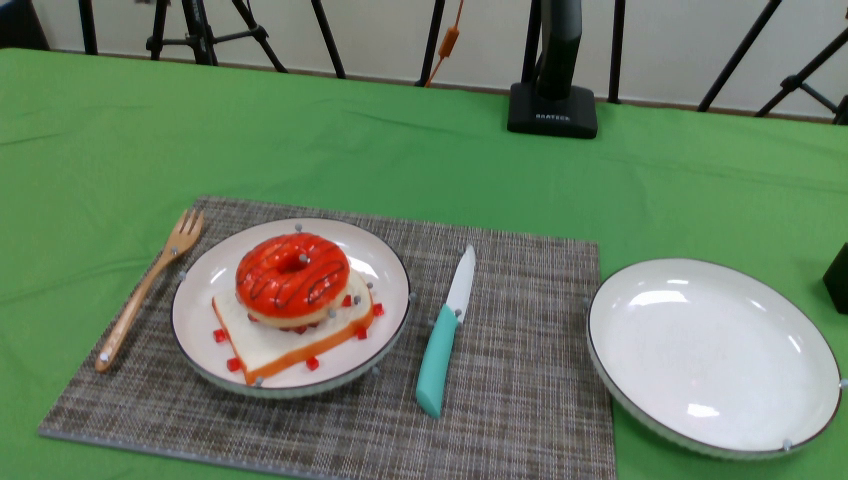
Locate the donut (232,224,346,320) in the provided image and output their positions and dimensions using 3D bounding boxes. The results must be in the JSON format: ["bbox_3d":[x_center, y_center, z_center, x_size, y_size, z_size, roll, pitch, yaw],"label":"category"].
[{"bbox_3d":[-0.117,0.026,0.528,0.099,0.048,0.098,2,43,-1],"label":"donut"}]

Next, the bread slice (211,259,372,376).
[{"bbox_3d":[-0.116,0.057,0.551,0.132,0.019,0.103,-23,49,-24],"label":"bread slice"}]

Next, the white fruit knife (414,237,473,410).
[{"bbox_3d":[0.023,0.065,0.564,0.027,0.016,0.206,32,42,-11],"label":"white fruit knife"}]

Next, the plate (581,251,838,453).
[{"bbox_3d":[0.240,0.095,0.531,0.208,0.039,0.205,2,43,-1],"label":"plate"}]

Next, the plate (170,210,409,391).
[{"bbox_3d":[-0.119,0.052,0.553,0.209,0.038,0.207,1,43,-1],"label":"plate"}]

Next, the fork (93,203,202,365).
[{"bbox_3d":[-0.260,0.033,0.579,0.028,0.019,0.205,12,41,-1],"label":"fork"}]
